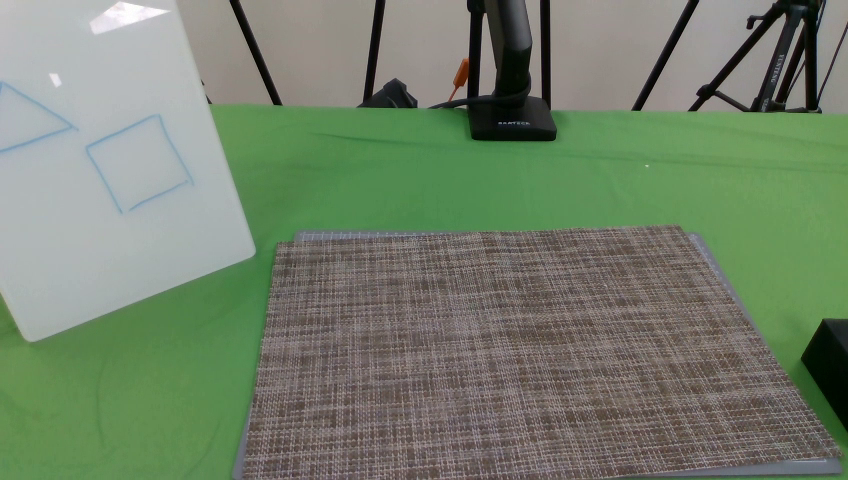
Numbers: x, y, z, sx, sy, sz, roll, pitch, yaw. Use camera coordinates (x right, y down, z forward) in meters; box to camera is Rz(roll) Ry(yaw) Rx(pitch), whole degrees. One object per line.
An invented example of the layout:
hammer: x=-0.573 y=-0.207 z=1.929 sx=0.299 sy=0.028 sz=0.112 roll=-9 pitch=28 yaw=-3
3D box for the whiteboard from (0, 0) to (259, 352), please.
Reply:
whiteboard: x=-0.323 y=-0.093 z=0.577 sx=0.217 sy=0.307 sz=0.142 roll=-24 pitch=25 yaw=-28
